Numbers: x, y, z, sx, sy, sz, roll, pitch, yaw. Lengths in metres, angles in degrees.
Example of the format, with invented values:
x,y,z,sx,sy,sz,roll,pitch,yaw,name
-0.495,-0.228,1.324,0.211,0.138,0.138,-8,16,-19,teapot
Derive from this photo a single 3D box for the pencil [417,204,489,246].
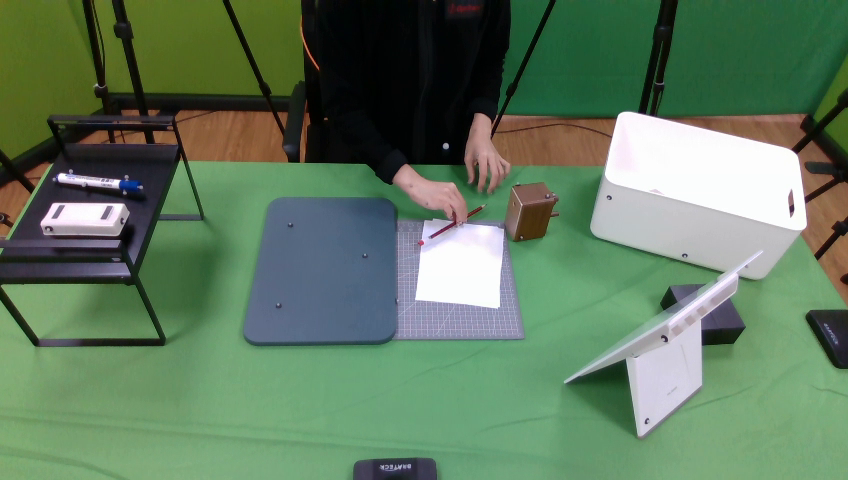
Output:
x,y,z,sx,sy,sz,roll,pitch,yaw,name
0.063,-0.034,1.228,0.194,0.012,0.012,-29,55,-28,pencil

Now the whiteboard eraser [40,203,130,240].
x,y,z,sx,sy,sz,roll,pitch,yaw,name
-0.513,-0.028,0.922,0.113,0.042,0.055,1,48,-3,whiteboard eraser

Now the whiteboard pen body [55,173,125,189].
x,y,z,sx,sy,sz,roll,pitch,yaw,name
-0.539,-0.095,0.998,0.141,0.017,0.017,6,46,6,whiteboard pen body

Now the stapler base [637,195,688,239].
x,y,z,sx,sy,sz,roll,pitch,yaw,name
0.507,-0.055,1.280,0.041,0.024,0.129,-14,47,-19,stapler base

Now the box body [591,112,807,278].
x,y,z,sx,sy,sz,roll,pitch,yaw,name
0.540,-0.092,1.229,0.363,0.161,0.253,16,47,11,box body

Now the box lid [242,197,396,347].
x,y,z,sx,sy,sz,roll,pitch,yaw,name
-0.186,0.046,1.147,0.263,0.015,0.369,0,46,-3,box lid

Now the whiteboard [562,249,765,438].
x,y,z,sx,sy,sz,roll,pitch,yaw,name
0.386,0.175,0.905,0.217,0.306,0.143,-26,72,-26,whiteboard

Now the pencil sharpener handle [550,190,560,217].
x,y,z,sx,sy,sz,roll,pitch,yaw,name
0.262,-0.074,1.213,0.031,0.068,0.035,-9,44,-13,pencil sharpener handle

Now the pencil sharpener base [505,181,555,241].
x,y,z,sx,sy,sz,roll,pitch,yaw,name
0.212,-0.058,1.210,0.077,0.107,0.061,-9,47,-13,pencil sharpener base

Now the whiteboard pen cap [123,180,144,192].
x,y,z,sx,sy,sz,roll,pitch,yaw,name
-0.479,-0.089,0.993,0.033,0.018,0.018,7,46,14,whiteboard pen cap

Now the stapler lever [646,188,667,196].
x,y,z,sx,sy,sz,roll,pitch,yaw,name
0.507,-0.075,1.262,0.027,0.040,0.117,-14,46,-19,stapler lever
